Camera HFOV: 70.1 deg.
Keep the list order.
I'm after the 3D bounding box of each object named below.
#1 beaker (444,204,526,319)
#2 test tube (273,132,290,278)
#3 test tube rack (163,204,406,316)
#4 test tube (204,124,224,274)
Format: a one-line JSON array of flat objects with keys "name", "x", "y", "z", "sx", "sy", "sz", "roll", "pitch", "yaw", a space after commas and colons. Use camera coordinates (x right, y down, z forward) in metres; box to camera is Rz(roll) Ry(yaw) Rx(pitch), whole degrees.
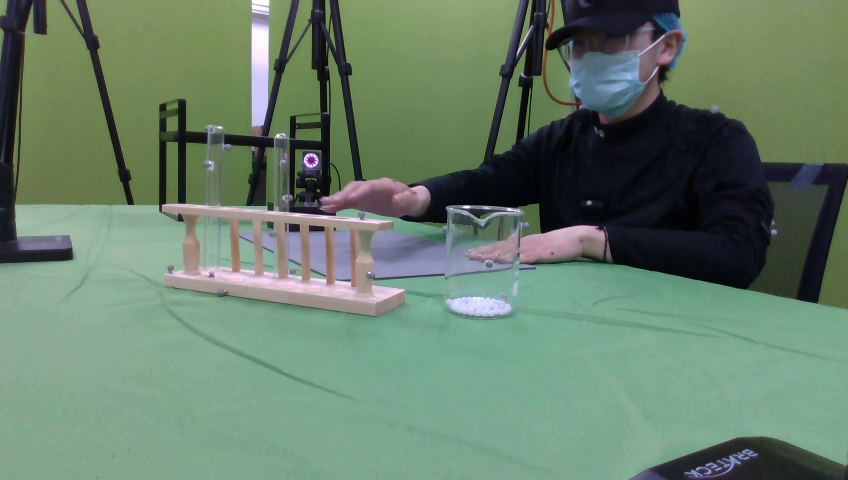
[{"name": "beaker", "x": 0.055, "y": 0.019, "z": 0.563, "sx": 0.074, "sy": 0.100, "sz": 0.084, "roll": 3, "pitch": 8, "yaw": 8}, {"name": "test tube", "x": -0.146, "y": -0.034, "z": 0.617, "sx": 0.017, "sy": 0.150, "sz": 0.017, "roll": 2, "pitch": 8, "yaw": 0}, {"name": "test tube rack", "x": -0.141, "y": 0.013, "z": 0.601, "sx": 0.241, "sy": 0.085, "sz": 0.067, "roll": 5, "pitch": 8, "yaw": 21}, {"name": "test tube", "x": -0.210, "y": -0.039, "z": 0.604, "sx": 0.017, "sy": 0.150, "sz": 0.017, "roll": 5, "pitch": 11, "yaw": -1}]
